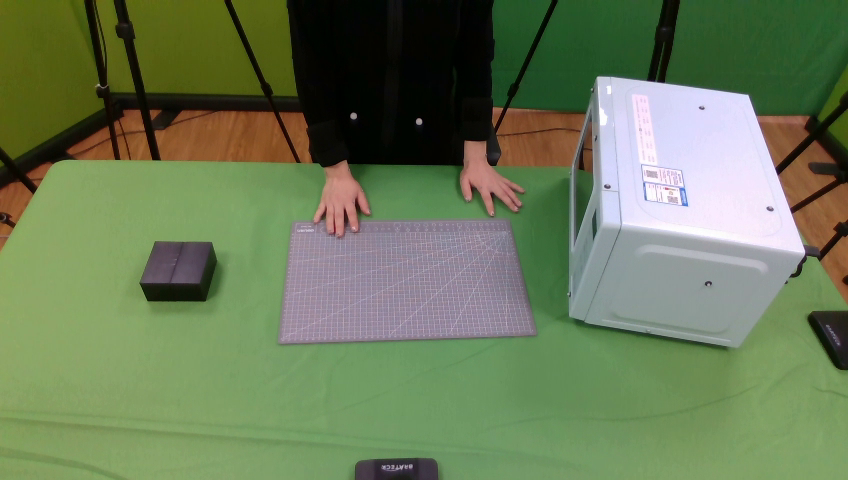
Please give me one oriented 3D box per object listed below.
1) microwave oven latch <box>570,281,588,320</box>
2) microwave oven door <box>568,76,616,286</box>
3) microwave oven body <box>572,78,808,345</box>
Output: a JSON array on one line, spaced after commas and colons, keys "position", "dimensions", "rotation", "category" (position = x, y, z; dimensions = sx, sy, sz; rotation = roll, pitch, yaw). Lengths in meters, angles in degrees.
[{"position": [0.276, 0.105, 1.082], "dimensions": [0.030, 0.029, 0.079], "rotation": [10, 45, 6], "category": "microwave oven latch"}, {"position": [0.319, -0.119, 1.161], "dimensions": [0.039, 0.245, 0.354], "rotation": [9, 46, 5], "category": "microwave oven door"}, {"position": [0.456, -0.063, 1.125], "dimensions": [0.326, 0.261, 0.439], "rotation": [8, 45, 5], "category": "microwave oven body"}]
